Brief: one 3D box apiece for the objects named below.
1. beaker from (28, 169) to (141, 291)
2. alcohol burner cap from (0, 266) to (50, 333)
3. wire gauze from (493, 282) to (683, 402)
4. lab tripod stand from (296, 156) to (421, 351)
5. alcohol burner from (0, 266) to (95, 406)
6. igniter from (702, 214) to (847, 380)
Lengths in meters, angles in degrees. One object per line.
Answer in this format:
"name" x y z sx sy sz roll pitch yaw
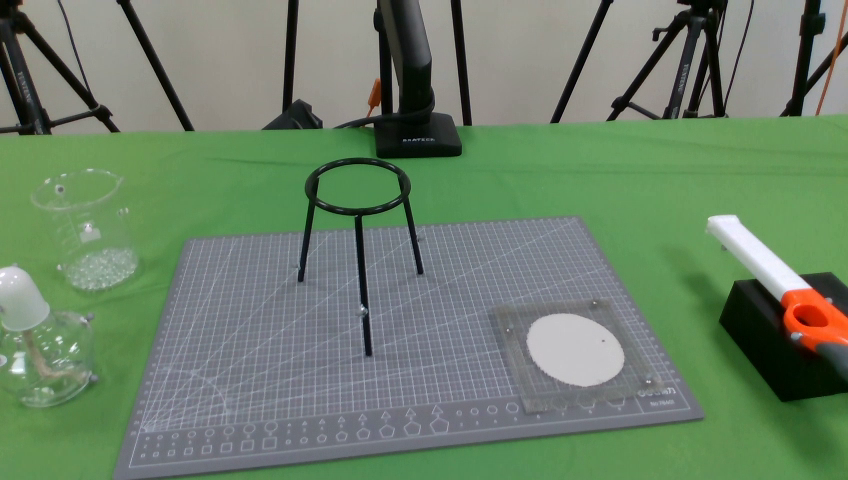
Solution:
"beaker" -0.320 -0.009 0.588 0.073 0.101 0.084 29 43 31
"alcohol burner cap" -0.301 0.041 0.445 0.034 0.048 0.033 2 40 -2
"wire gauze" 0.141 0.085 0.527 0.125 0.011 0.120 -11 35 -28
"lab tripod stand" -0.057 0.004 0.547 0.148 0.132 0.147 3 37 -2
"alcohol burner" -0.301 0.070 0.466 0.078 0.120 0.077 2 34 -1
"igniter" 0.319 0.053 0.513 0.057 0.025 0.273 -4 33 -6
